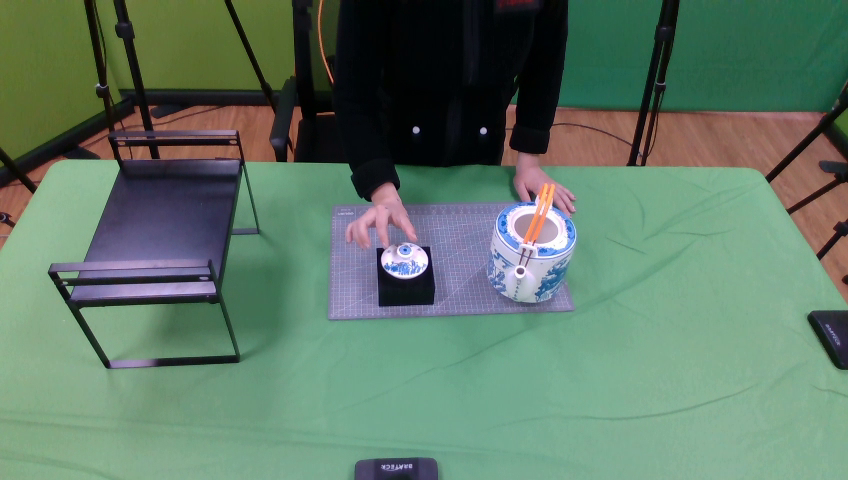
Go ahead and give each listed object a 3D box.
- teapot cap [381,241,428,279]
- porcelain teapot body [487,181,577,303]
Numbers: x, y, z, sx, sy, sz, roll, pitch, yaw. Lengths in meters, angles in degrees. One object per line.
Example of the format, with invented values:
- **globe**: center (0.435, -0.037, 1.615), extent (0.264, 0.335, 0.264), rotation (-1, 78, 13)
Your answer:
- **teapot cap**: center (-0.033, 0.031, 1.075), extent (0.085, 0.044, 0.084), rotation (3, 50, -3)
- **porcelain teapot body**: center (0.184, 0.018, 1.047), extent (0.145, 0.226, 0.204), rotation (14, 48, 10)
